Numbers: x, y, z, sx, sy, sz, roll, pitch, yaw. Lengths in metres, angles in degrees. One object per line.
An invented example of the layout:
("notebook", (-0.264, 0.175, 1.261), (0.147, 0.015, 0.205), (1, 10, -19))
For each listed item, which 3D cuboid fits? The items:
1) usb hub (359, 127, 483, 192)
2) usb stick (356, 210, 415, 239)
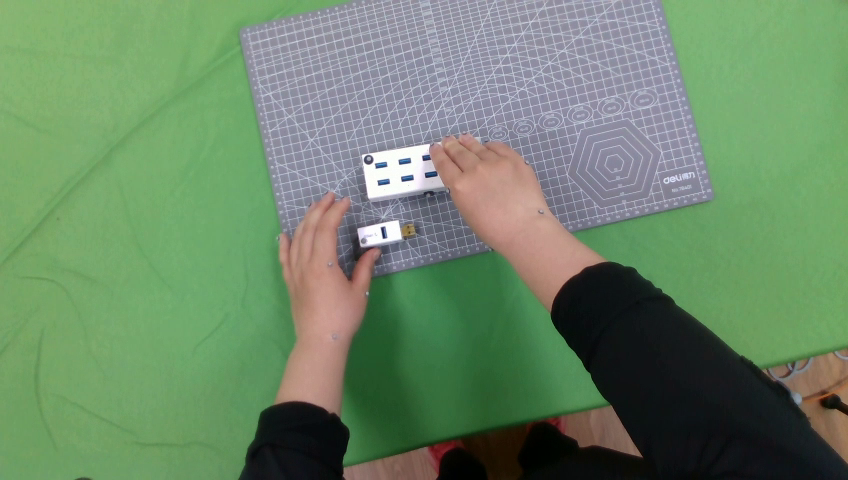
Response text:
("usb hub", (-0.003, -0.085, 0.633), (0.125, 0.025, 0.049), (-9, 85, 2))
("usb stick", (-0.039, -0.017, 0.629), (0.059, 0.027, 0.021), (-11, 86, -1))
